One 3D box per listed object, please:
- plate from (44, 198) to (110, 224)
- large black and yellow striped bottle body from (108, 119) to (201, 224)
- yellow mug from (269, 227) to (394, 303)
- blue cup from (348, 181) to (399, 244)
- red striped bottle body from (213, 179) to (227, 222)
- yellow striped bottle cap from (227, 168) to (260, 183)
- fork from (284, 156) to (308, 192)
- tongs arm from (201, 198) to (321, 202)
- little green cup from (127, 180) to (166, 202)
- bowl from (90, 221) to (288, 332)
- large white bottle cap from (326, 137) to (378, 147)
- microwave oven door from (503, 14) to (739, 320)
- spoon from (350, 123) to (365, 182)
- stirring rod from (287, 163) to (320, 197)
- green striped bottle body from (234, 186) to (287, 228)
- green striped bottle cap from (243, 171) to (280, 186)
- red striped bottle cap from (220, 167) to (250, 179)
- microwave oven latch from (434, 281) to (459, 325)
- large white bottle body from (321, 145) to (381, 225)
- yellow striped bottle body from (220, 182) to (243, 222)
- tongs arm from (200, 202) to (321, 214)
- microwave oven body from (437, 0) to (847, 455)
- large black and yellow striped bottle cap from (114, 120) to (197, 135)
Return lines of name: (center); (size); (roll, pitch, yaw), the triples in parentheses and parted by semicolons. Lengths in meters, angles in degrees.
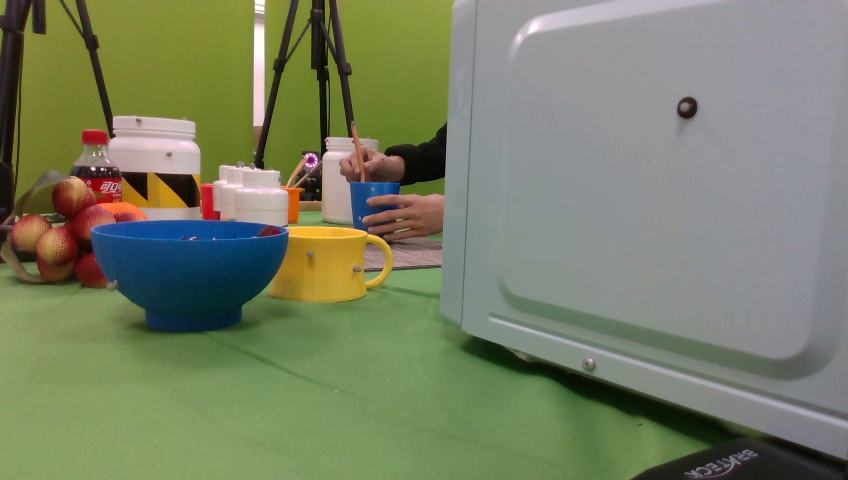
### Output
plate: (-0.617, -0.056, 1.179); (0.209, 0.038, 0.209); (3, 7, 0)
large black and yellow striped bottle body: (-0.412, -0.088, 0.930); (0.131, 0.184, 0.130); (3, 7, 0)
yellow mug: (-0.094, 0.023, 0.629); (0.131, 0.064, 0.099); (0, 7, -22)
blue cup: (-0.084, -0.047, 1.013); (0.093, 0.100, 0.092); (1, 7, 0)
red striped bottle body: (-0.284, -0.048, 0.910); (0.063, 0.119, 0.063); (3, 12, 0)
yellow striped bottle cap: (-0.243, -0.087, 0.818); (0.044, 0.018, 0.044); (4, 6, 0)
fork: (-0.295, -0.116, 1.323); (0.028, 0.019, 0.207); (1, 50, 21)
tongs arm: (-0.433, -0.090, 1.508); (0.390, 0.028, 0.028); (-1, 2, -29)
little green cup: (-0.486, -0.086, 1.061); (0.061, 0.038, 0.061); (1, 7, 0)
bowl: (-0.190, 0.029, 0.500); (0.151, 0.077, 0.151); (3, 7, 0)
large white bottle cap: (-0.158, -0.214, 1.329); (0.115, 0.018, 0.115); (2, 8, 0)
microwave oven door: (0.218, -0.065, 0.600); (0.358, 0.243, 0.039); (-4, 10, -41)
spoon: (-0.108, -0.108, 1.022); (0.021, 0.193, 0.042); (-7, -13, 7)
stirring rod: (-0.283, -0.107, 1.298); (0.014, 0.006, 0.176); (10, 52, 51)
green striped bottle body: (-0.201, -0.023, 0.743); (0.063, 0.119, 0.063); (2, 7, 0)
green striped bottle cap: (-0.198, -0.074, 0.736); (0.044, 0.020, 0.044); (1, 7, 0)
red striped bottle cap: (-0.281, -0.100, 0.901); (0.044, 0.017, 0.044); (-1, 5, 0)
microwave oven latch: (0.044, 0.045, 0.470); (0.079, 0.029, 0.030); (-2, 8, -39)
large white bottle body: (-0.162, -0.131, 1.341); (0.131, 0.184, 0.130); (2, 8, 0)
yellow striped bottle body: (-0.245, -0.036, 0.825); (0.063, 0.120, 0.063); (3, 8, 0)
tongs arm: (-0.378, -0.079, 1.440); (0.387, 0.026, 0.050); (-4, 8, -44)
microwave oven body: (0.279, -0.040, 0.465); (0.444, 0.260, 0.324); (-3, 9, -41)
large black and yellow striped bottle cap: (-0.407, -0.171, 0.920); (0.115, 0.019, 0.115); (2, 9, 0)
